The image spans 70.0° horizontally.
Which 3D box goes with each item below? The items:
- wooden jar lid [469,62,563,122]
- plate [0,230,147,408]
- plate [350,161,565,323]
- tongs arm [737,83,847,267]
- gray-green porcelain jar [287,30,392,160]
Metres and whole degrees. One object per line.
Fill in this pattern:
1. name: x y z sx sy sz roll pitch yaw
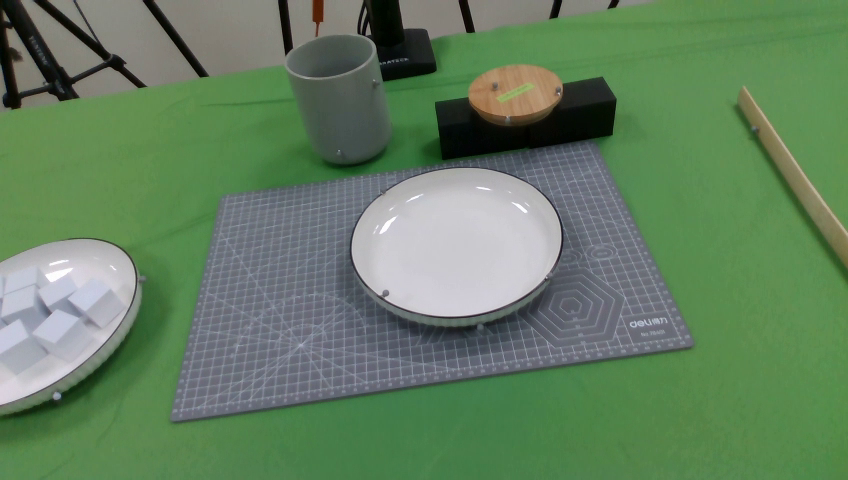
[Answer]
1. wooden jar lid: 0.106 -0.171 0.701 0.108 0.021 0.107 -4 46 4
2. plate: -0.372 0.076 0.593 0.207 0.039 0.205 -4 45 5
3. plate: 0.032 0.001 0.598 0.209 0.038 0.207 -5 45 5
4. tongs arm: 0.391 -0.045 0.598 0.028 0.028 0.383 -5 45 2
5. gray-green porcelain jar: -0.096 -0.168 0.726 0.106 0.128 0.105 -5 45 5
